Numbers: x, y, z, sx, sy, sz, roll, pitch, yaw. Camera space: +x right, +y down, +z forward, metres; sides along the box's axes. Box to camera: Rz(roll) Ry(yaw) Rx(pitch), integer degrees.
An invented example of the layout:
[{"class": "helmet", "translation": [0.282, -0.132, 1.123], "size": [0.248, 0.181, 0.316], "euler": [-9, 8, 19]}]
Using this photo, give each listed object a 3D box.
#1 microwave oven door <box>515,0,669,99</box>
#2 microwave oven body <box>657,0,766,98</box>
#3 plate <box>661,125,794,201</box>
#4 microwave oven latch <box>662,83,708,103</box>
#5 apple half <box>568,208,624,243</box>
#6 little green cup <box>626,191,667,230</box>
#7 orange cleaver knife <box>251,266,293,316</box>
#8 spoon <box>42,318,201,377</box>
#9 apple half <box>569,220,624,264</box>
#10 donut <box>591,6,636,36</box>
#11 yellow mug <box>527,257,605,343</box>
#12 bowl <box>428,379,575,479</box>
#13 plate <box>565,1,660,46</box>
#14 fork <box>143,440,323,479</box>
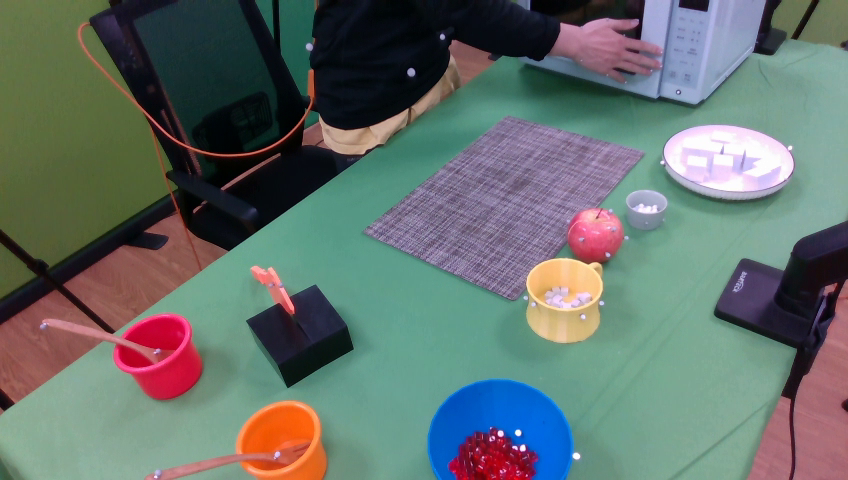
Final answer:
[{"class": "microwave oven door", "translation": [0.339, -0.451, 1.255], "size": [0.353, 0.245, 0.039], "euler": [28, 53, 35]}, {"class": "microwave oven body", "translation": [0.472, -0.513, 1.317], "size": [0.438, 0.261, 0.327], "euler": [25, 51, 34]}, {"class": "plate", "translation": [0.514, -0.128, 1.035], "size": [0.207, 0.039, 0.206], "euler": [-4, 40, 4]}, {"class": "microwave oven latch", "translation": [0.518, -0.296, 1.204], "size": [0.078, 0.029, 0.030], "euler": [27, 52, 35]}, {"class": "apple half", "translation": [0.260, -0.014, 0.914], "size": [0.080, 0.075, 0.053], "euler": [0, 36, 15]}, {"class": "little green cup", "translation": [0.352, -0.046, 0.963], "size": [0.061, 0.039, 0.061], "euler": [-4, 40, 4]}, {"class": "orange cleaver knife", "translation": [-0.221, 0.071, 0.874], "size": [0.012, 0.077, 0.210], "euler": [-25, 11, -21]}, {"class": "spoon", "translation": [-0.385, 0.135, 0.779], "size": [0.195, 0.021, 0.041], "euler": [29, 37, -26]}, {"class": "apple half", "translation": [0.251, 0.010, 0.884], "size": [0.081, 0.081, 0.032], "euler": [3, 37, 12]}, {"class": "donut", "translation": [0.427, -0.497, 1.364], "size": [0.099, 0.048, 0.098], "euler": [-6, 38, 5]}, {"class": "yellow mug", "translation": [0.202, 0.072, 0.825], "size": [0.131, 0.064, 0.099], "euler": [-32, 46, -27]}, {"class": "bowl", "translation": [0.083, 0.233, 0.644], "size": [0.151, 0.077, 0.150], "euler": [-4, 39, 4]}, {"class": "plate", "translation": [0.427, -0.489, 1.377], "size": [0.209, 0.038, 0.208], "euler": [-4, 40, 4]}, {"class": "fork", "translation": [-0.190, 0.231, 0.631], "size": [0.028, 0.018, 0.209], "euler": [38, 14, 37]}]
